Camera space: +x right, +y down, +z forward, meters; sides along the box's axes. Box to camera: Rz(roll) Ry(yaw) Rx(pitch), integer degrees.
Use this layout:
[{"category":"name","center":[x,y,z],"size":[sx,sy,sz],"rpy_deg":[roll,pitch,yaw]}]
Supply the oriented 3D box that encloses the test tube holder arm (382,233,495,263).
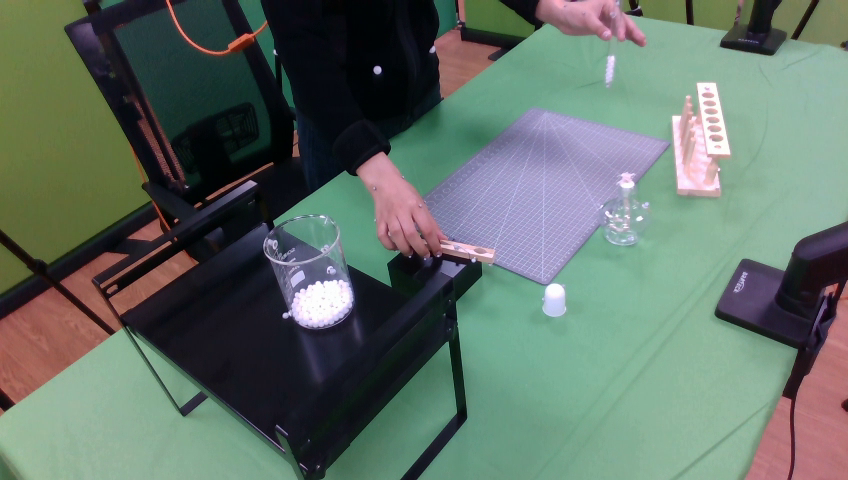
[{"category":"test tube holder arm","center":[0.018,0.010,0.890],"size":[0.177,0.015,0.013],"rpy_deg":[9,42,21]}]

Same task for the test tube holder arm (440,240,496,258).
[{"category":"test tube holder arm","center":[0.062,0.014,0.878],"size":[0.087,0.015,0.010],"rpy_deg":[10,43,22]}]

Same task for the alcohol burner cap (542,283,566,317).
[{"category":"alcohol burner cap","center":[0.181,0.081,0.840],"size":[0.034,0.048,0.033],"rpy_deg":[-4,41,4]}]

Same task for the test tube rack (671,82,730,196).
[{"category":"test tube rack","center":[0.482,-0.184,1.067],"size":[0.066,0.085,0.242],"rpy_deg":[6,42,14]}]

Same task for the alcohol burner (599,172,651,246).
[{"category":"alcohol burner","center":[0.306,-0.051,0.918],"size":[0.078,0.119,0.077],"rpy_deg":[-6,41,5]}]

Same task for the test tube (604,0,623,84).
[{"category":"test tube","center":[0.316,-0.337,1.010],"size":[0.017,0.150,0.017],"rpy_deg":[0,29,1]}]

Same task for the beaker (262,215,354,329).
[{"category":"beaker","center":[-0.112,0.034,0.616],"size":[0.073,0.101,0.084],"rpy_deg":[13,44,23]}]
